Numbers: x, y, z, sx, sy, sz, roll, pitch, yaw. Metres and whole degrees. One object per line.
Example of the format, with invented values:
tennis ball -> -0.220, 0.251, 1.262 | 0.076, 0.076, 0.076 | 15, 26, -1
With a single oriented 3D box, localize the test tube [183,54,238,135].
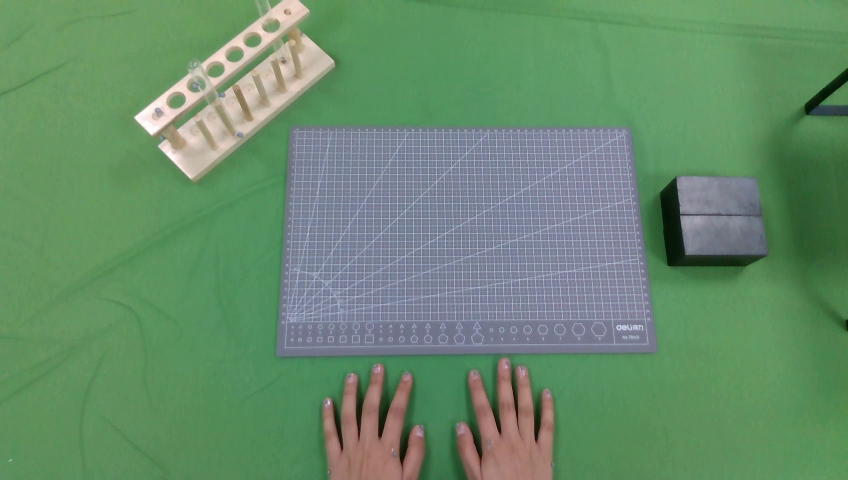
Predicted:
test tube -> -0.244, -0.165, 0.701 | 0.017, 0.151, 0.017 | 0, 70, 1

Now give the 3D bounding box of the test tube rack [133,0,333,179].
test tube rack -> -0.229, -0.192, 0.757 | 0.066, 0.085, 0.242 | 43, 76, 11

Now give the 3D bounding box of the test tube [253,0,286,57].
test tube -> -0.190, -0.271, 0.730 | 0.017, 0.151, 0.017 | 0, 70, 2
